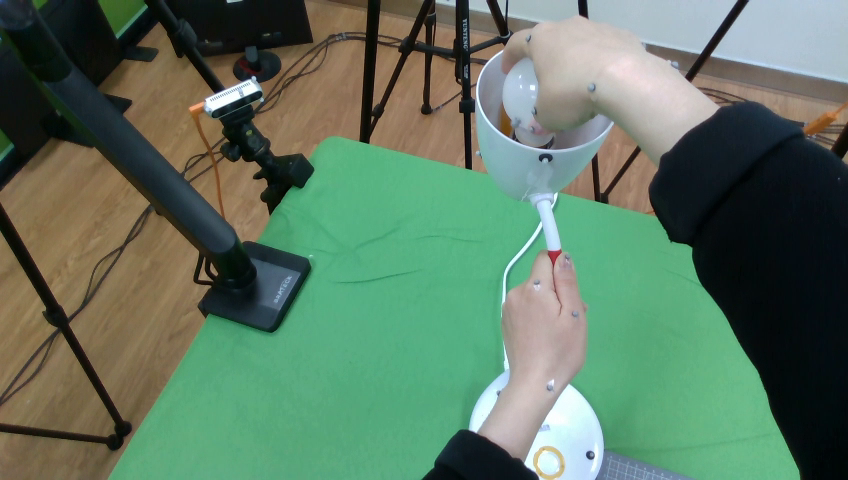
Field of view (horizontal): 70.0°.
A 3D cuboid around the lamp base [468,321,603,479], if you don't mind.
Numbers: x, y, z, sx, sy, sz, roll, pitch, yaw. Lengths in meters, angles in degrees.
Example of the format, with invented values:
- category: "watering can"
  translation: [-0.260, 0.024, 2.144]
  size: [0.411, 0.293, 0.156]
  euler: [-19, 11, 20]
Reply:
- category: "lamp base"
  translation: [0.125, 0.179, 0.669]
  size: [0.161, 0.182, 0.177]
  euler: [-21, 55, -12]

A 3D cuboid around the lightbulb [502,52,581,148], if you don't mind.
- category: "lightbulb"
  translation: [0.092, -0.104, 0.491]
  size: [0.059, 0.108, 0.059]
  euler: [-1, 64, 2]

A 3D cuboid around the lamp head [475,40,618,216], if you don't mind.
- category: "lamp head"
  translation: [0.096, -0.084, 0.515]
  size: [0.112, 0.124, 0.111]
  euler: [0, 57, 0]
